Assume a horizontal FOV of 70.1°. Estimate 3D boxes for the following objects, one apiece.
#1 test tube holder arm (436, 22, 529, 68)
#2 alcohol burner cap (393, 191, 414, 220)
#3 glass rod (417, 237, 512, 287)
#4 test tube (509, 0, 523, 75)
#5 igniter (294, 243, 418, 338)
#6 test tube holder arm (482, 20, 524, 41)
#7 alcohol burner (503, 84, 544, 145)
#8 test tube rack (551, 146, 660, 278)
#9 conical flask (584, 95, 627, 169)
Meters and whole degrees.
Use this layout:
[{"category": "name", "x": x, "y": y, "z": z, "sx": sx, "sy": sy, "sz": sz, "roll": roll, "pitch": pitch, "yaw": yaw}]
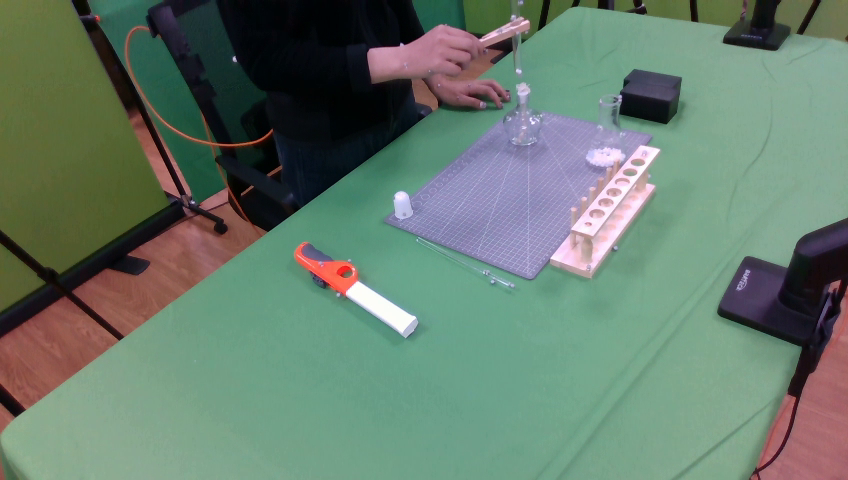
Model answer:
[{"category": "test tube holder arm", "x": 0.100, "y": -0.328, "z": 1.013, "sx": 0.179, "sy": 0.015, "sz": 0.013, "roll": -27, "pitch": 43, "yaw": -14}, {"category": "alcohol burner cap", "x": -0.037, "y": -0.062, "z": 1.045, "sx": 0.034, "sy": 0.048, "sz": 0.033, "roll": -5, "pitch": 40, "yaw": 5}, {"category": "glass rod", "x": 0.059, "y": 0.033, "z": 0.945, "sx": 0.198, "sy": 0.008, "sz": 0.008, "roll": 26, "pitch": 52, "yaw": 38}, {"category": "test tube", "x": 0.159, "y": -0.352, "z": 1.043, "sx": 0.017, "sy": 0.151, "sz": 0.017, "roll": -7, "pitch": 46, "yaw": 8}, {"category": "igniter", "x": -0.114, "y": 0.070, "z": 0.919, "sx": 0.274, "sy": 0.025, "sz": 0.057, "roll": 29, "pitch": 63, "yaw": 37}, {"category": "test tube holder arm", "x": 0.135, "y": -0.352, "z": 1.029, "sx": 0.088, "sy": 0.015, "sz": 0.010, "roll": -32, "pitch": 44, "yaw": -19}, {"category": "alcohol burner", "x": 0.191, "y": -0.244, "z": 1.160, "sx": 0.078, "sy": 0.119, "sz": 0.077, "roll": -4, "pitch": 40, "yaw": 4}, {"category": "test tube rack", "x": 0.286, "y": -0.053, "z": 0.944, "sx": 0.066, "sy": 0.085, "sz": 0.243, "roll": 21, "pitch": 49, "yaw": 32}, {"category": "conical flask", "x": 0.324, "y": -0.192, "z": 1.066, "sx": 0.075, "sy": 0.122, "sz": 0.075, "roll": -6, "pitch": 40, "yaw": 5}]
